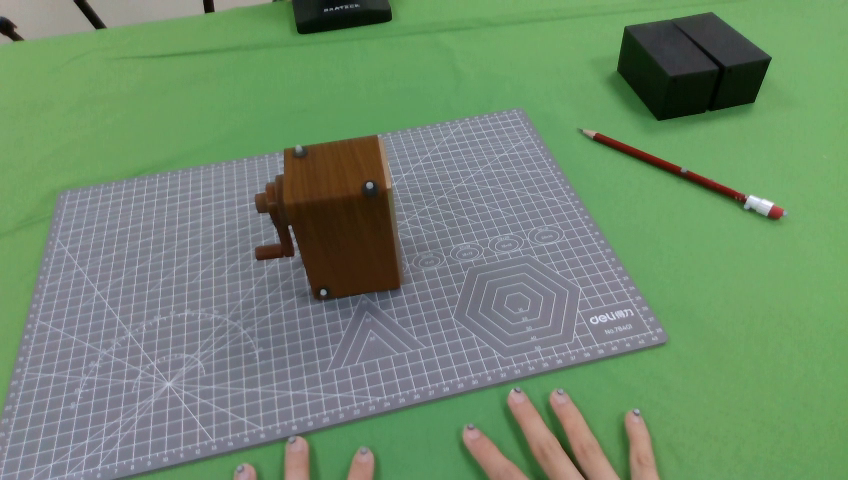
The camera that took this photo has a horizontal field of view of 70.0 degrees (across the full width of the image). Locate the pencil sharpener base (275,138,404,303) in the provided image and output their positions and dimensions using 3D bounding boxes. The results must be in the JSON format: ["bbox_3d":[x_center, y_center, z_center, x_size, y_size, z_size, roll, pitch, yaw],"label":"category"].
[{"bbox_3d":[-0.059,-0.011,0.440,0.077,0.108,0.060,-9,47,-4],"label":"pencil sharpener base"}]

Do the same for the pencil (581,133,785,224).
[{"bbox_3d":[0.223,-0.060,0.543,0.192,0.012,0.012,33,56,31],"label":"pencil"}]

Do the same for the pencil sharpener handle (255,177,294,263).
[{"bbox_3d":[-0.110,-0.011,0.426,0.031,0.068,0.035,-9,40,-4],"label":"pencil sharpener handle"}]
